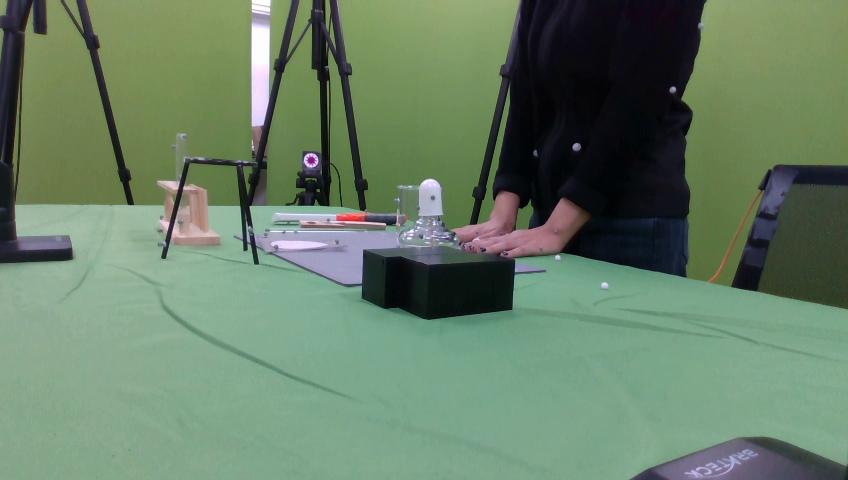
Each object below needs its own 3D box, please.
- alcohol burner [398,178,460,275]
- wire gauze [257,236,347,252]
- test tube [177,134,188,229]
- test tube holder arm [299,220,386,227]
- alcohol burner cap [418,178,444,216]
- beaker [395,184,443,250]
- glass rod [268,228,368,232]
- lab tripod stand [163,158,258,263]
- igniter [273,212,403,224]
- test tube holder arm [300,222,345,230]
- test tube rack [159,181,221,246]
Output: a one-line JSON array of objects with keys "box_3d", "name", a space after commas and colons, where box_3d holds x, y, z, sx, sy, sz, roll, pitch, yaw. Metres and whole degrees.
[{"box_3d": [0.007, -0.017, 0.751, 0.078, 0.119, 0.078, 3, 9, 0], "name": "alcohol burner"}, {"box_3d": [-0.189, 0.005, 0.931, 0.122, 0.011, 0.124, 1, 7, -21], "name": "wire gauze"}, {"box_3d": [-0.374, -0.089, 0.938, 0.017, 0.150, 0.017, 2, 4, 0], "name": "test tube"}, {"box_3d": [-0.158, -0.032, 1.195, 0.179, 0.015, 0.013, -2, 43, -29], "name": "test tube holder arm"}, {"box_3d": [0.007, -0.053, 0.745, 0.034, 0.048, 0.034, -3, 6, 1], "name": "alcohol burner cap"}, {"box_3d": [-0.007, -0.037, 0.965, 0.074, 0.100, 0.083, -4, 11, -40], "name": "beaker"}, {"box_3d": [-0.193, -0.018, 1.128, 0.201, 0.008, 0.008, 0, 7, -35], "name": "glass rod"}, {"box_3d": [-0.265, -0.041, 0.802, 0.148, 0.131, 0.148, 4, 6, 0], "name": "lab tripod stand"}, {"box_3d": [-0.179, -0.048, 1.290, 0.278, 0.025, 0.057, -1, -2, -24], "name": "igniter"}, {"box_3d": [-0.196, -0.027, 1.170, 0.088, 0.015, 0.010, -1, 43, -28], "name": "test tube holder arm"}, {"box_3d": [-0.395, -0.050, 1.010, 0.067, 0.085, 0.241, -2, 8, -28], "name": "test tube rack"}]
